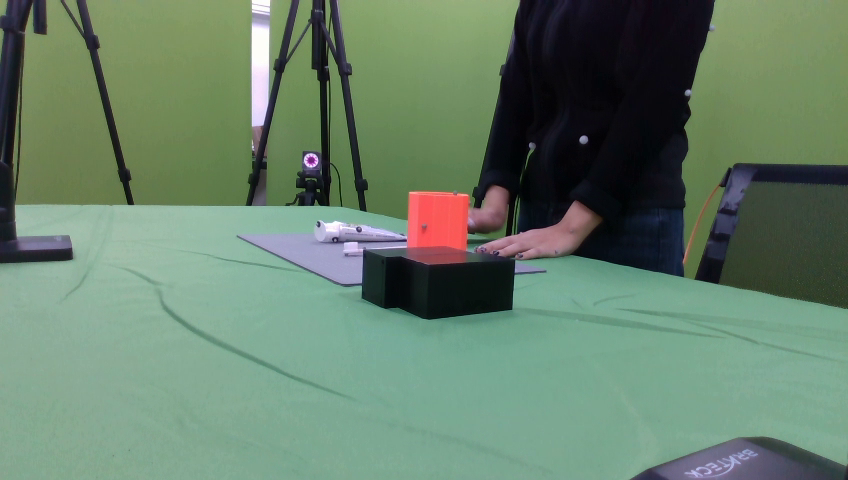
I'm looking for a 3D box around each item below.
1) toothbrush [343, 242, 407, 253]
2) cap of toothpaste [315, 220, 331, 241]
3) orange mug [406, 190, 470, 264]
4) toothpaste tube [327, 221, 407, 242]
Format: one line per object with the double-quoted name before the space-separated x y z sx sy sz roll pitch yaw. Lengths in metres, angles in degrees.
"toothbrush" -0.039 0.010 0.905 0.183 0.016 0.014 -1 -7 -36
"cap of toothpaste" -0.164 -0.016 0.982 0.011 0.037 0.037 -8 12 -43
"orange mug" 0.027 -0.023 0.866 0.083 0.101 0.126 6 12 24
"toothpaste tube" -0.095 -0.012 1.026 0.166 0.034 0.055 2 13 -33
